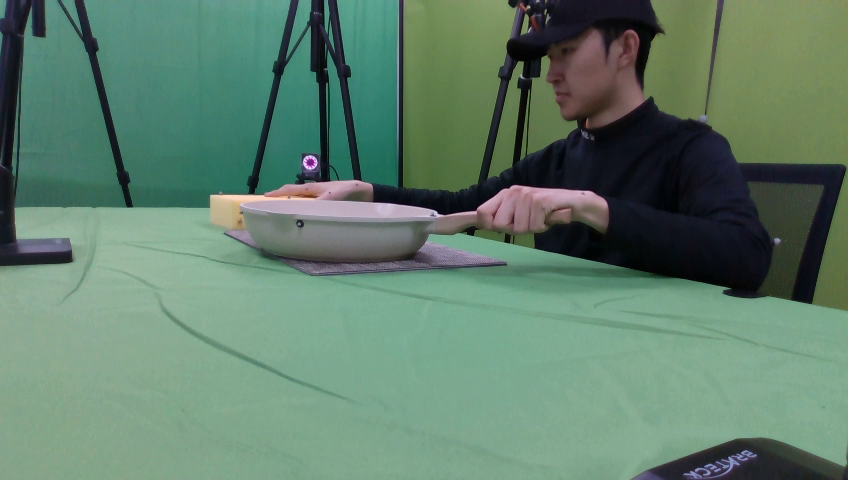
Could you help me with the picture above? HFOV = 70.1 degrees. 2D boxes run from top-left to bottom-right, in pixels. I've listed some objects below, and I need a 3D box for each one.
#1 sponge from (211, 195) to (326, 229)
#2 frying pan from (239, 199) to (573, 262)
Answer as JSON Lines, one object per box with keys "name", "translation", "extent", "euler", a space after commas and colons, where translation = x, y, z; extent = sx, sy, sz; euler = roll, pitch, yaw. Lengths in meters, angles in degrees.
{"name": "sponge", "translation": [-0.320, -0.060, 1.254], "extent": [0.208, 0.061, 0.117], "euler": [-3, 8, -39]}
{"name": "frying pan", "translation": [-0.032, -0.025, 0.867], "extent": [0.486, 0.102, 0.308], "euler": [-3, 5, 25]}
